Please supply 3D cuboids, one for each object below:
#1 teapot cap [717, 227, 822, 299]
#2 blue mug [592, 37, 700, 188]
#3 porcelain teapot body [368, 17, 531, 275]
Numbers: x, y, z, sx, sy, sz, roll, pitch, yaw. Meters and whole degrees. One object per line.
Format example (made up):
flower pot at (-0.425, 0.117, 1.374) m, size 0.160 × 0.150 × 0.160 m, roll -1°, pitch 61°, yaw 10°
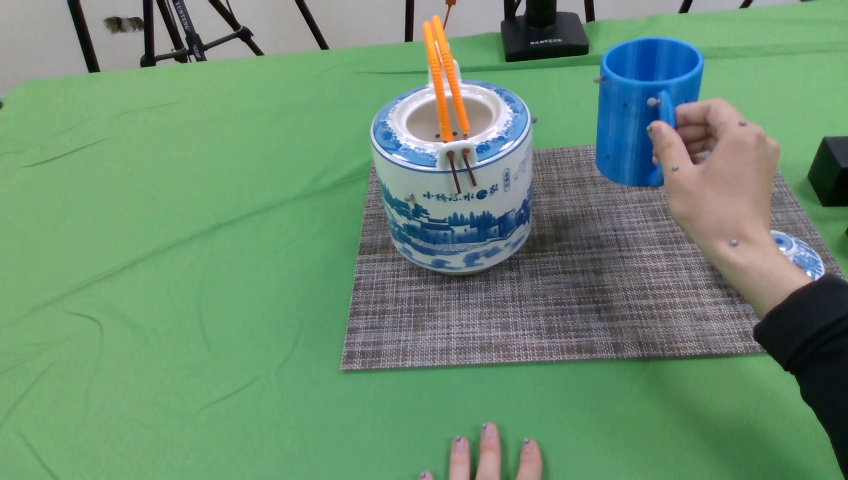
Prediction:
teapot cap at (0.305, 0.015, 0.535) m, size 0.085 × 0.044 × 0.084 m, roll -3°, pitch 43°, yaw 3°
blue mug at (0.193, -0.101, 0.528) m, size 0.082 × 0.107 × 0.115 m, roll -6°, pitch 43°, yaw 7°
porcelain teapot body at (0.021, -0.104, 0.572) m, size 0.145 × 0.227 × 0.203 m, roll -9°, pitch 43°, yaw 0°
